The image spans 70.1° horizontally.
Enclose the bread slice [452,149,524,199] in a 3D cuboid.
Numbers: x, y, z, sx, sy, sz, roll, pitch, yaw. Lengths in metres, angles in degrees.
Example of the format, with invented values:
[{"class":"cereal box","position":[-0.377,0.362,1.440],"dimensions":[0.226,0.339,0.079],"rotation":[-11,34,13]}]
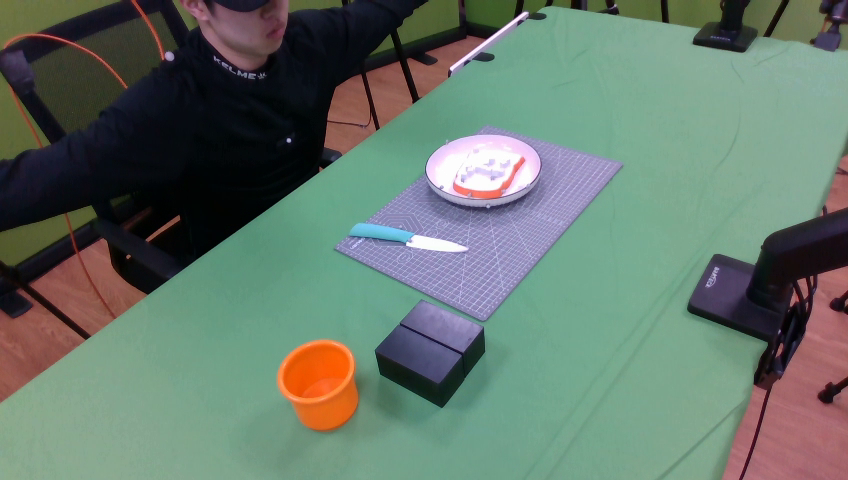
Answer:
[{"class":"bread slice","position":[0.111,-0.119,1.078],"dimensions":[0.104,0.019,0.131],"rotation":[12,43,21]}]

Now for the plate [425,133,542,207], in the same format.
[{"class":"plate","position":[0.106,-0.121,1.079],"dimensions":[0.209,0.038,0.208],"rotation":[-4,41,4]}]

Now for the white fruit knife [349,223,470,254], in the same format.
[{"class":"white fruit knife","position":[-0.025,-0.001,0.976],"dimensions":[0.206,0.016,0.027],"rotation":[11,73,17]}]
